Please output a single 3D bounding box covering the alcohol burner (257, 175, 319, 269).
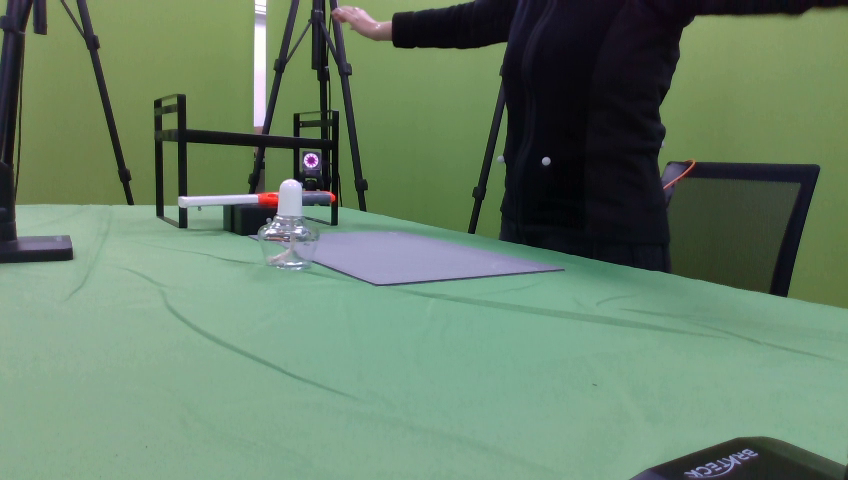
[{"bbox_3d":[-0.170,-0.023,0.762,0.078,0.119,0.078,4,8,0],"label":"alcohol burner"}]

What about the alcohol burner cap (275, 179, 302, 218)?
[{"bbox_3d":[-0.169,-0.053,0.759,0.034,0.048,0.034,4,8,0],"label":"alcohol burner cap"}]

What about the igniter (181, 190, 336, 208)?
[{"bbox_3d":[-0.294,-0.076,1.103,0.278,0.025,0.057,-5,12,-33],"label":"igniter"}]
